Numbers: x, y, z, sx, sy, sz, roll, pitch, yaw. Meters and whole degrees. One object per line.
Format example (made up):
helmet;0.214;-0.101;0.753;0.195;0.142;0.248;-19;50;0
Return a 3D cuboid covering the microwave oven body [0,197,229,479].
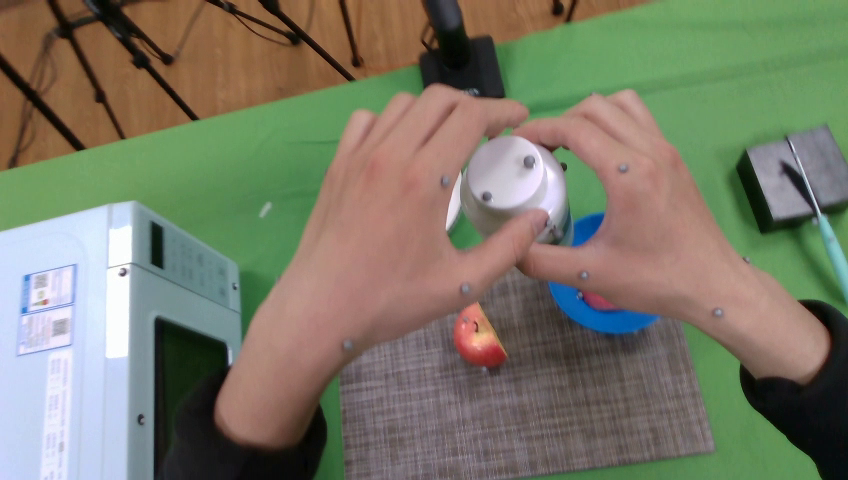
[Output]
microwave oven body;-0.422;0.222;0.733;0.326;0.262;0.438;-12;69;7

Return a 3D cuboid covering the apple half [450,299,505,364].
apple half;0.062;0.122;0.765;0.053;0.075;0.080;-30;71;4

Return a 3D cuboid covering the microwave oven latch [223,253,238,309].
microwave oven latch;-0.285;0.061;0.865;0.030;0.030;0.078;-12;69;7

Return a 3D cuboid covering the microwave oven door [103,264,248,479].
microwave oven door;-0.275;0.227;0.694;0.039;0.246;0.353;-13;68;8

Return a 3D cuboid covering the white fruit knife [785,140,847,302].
white fruit knife;0.471;-0.023;0.724;0.016;0.027;0.207;-22;84;23

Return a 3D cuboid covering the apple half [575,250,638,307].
apple half;0.227;0.044;0.749;0.081;0.033;0.080;-4;68;12

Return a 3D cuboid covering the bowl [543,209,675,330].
bowl;0.226;0.045;0.754;0.151;0.077;0.150;-4;70;12

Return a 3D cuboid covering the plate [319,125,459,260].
plate;-0.048;-0.066;0.879;0.207;0.039;0.206;-4;70;11

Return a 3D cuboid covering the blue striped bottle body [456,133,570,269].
blue striped bottle body;0.058;-0.024;0.383;0.063;0.122;0.062;-4;74;15

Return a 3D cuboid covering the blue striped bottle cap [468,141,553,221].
blue striped bottle cap;0.047;-0.033;0.334;0.044;0.021;0.044;-15;51;20
